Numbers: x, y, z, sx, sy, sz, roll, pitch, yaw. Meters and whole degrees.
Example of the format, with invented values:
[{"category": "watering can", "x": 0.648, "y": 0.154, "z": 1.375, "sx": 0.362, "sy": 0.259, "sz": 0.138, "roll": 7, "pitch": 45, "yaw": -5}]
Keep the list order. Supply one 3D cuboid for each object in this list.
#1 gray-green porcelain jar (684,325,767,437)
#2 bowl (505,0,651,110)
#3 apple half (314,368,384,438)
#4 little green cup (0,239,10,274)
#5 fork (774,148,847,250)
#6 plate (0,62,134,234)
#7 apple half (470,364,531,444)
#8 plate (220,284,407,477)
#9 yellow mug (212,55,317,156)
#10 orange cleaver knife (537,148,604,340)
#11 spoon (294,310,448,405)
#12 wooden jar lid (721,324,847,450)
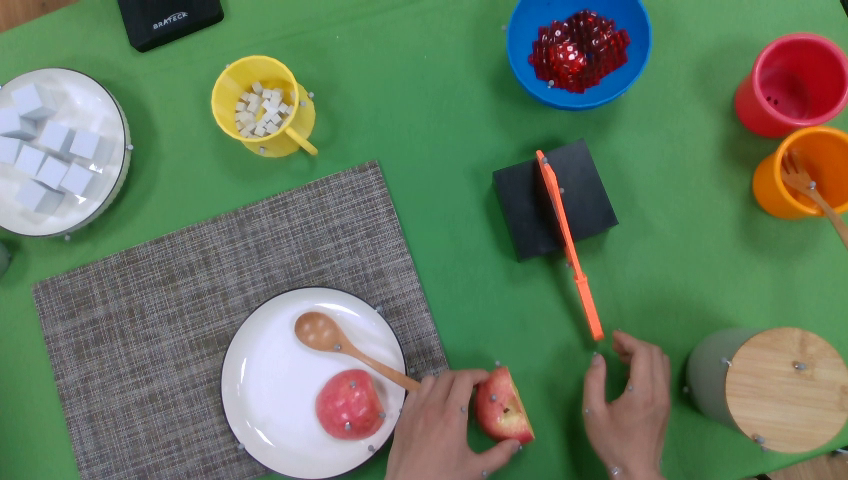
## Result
[{"category": "gray-green porcelain jar", "x": 0.322, "y": 0.136, "z": 0.593, "sx": 0.106, "sy": 0.127, "sz": 0.105, "roll": -1, "pitch": 83, "yaw": 6}, {"category": "bowl", "x": 0.163, "y": -0.207, "z": 0.667, "sx": 0.151, "sy": 0.077, "sz": 0.151, "roll": -1, "pitch": 84, "yaw": 6}, {"category": "apple half", "x": -0.086, "y": 0.182, "z": 0.662, "sx": 0.081, "sy": 0.033, "sz": 0.081, "roll": -1, "pitch": 81, "yaw": 7}, {"category": "little green cup", "x": -0.538, "y": 0.019, "z": 0.730, "sx": 0.061, "sy": 0.039, "sz": 0.061, "roll": 0, "pitch": 85, "yaw": 4}, {"category": "fork", "x": 0.392, "y": -0.028, "z": 0.591, "sx": 0.028, "sy": 0.019, "sz": 0.205, "roll": -3, "pitch": 40, "yaw": 4}, {"category": "plate", "x": -0.447, "y": -0.109, "z": 0.736, "sx": 0.207, "sy": 0.039, "sz": 0.207, "roll": -1, "pitch": 84, "yaw": 6}, {"category": "apple half", "x": 0.076, "y": 0.176, "z": 0.639, "sx": 0.053, "sy": 0.075, "sz": 0.080, "roll": -20, "pitch": 88, "yaw": 5}, {"category": "plate", "x": -0.120, "y": 0.153, "z": 0.674, "sx": 0.209, "sy": 0.038, "sz": 0.208, "roll": -1, "pitch": 84, "yaw": 5}, {"category": "yellow mug", "x": -0.173, "y": -0.143, "z": 0.699, "sx": 0.130, "sy": 0.064, "sz": 0.100, "roll": 42, "pitch": 89, "yaw": 7}, {"category": "orange cleaver knife", "x": 0.154, "y": 0.005, "z": 0.644, "sx": 0.012, "sy": 0.077, "sz": 0.212, "roll": -18, "pitch": 106, "yaw": 7}, {"category": "spoon", "x": -0.060, "y": 0.131, "z": 0.657, "sx": 0.192, "sy": 0.022, "sz": 0.041, "roll": 26, "pitch": 74, "yaw": 20}, {"category": "wooden jar lid", "x": 0.315, "y": 0.128, "z": 0.532, "sx": 0.108, "sy": 0.021, "sz": 0.108, "roll": 0, "pitch": 86, "yaw": 5}]
